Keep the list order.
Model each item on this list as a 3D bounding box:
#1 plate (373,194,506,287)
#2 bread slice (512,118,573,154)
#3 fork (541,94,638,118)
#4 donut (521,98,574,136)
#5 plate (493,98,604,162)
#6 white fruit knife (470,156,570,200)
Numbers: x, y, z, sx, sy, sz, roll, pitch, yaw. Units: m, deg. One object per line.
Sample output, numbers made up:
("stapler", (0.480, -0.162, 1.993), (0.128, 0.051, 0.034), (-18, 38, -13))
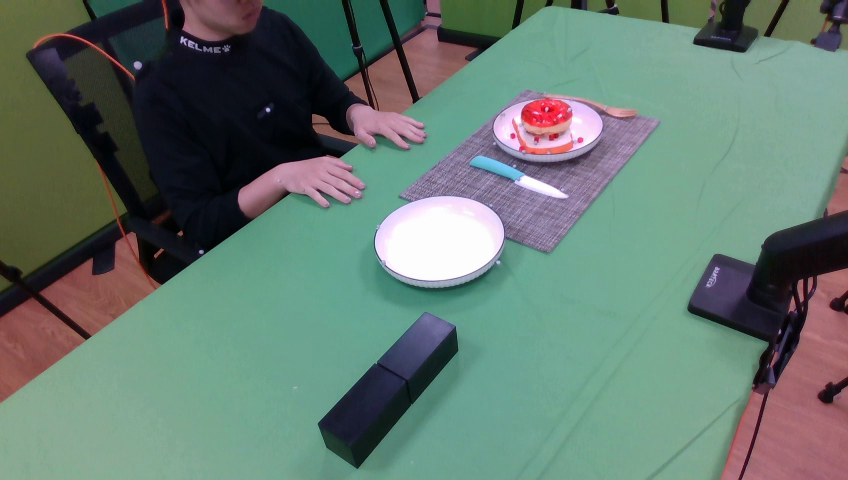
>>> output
("plate", (0.025, 0.003, 0.952), (0.207, 0.039, 0.206), (-4, 41, 4))
("bread slice", (0.232, -0.204, 1.160), (0.105, 0.019, 0.131), (-8, 39, 1))
("fork", (0.334, -0.277, 1.240), (0.206, 0.019, 0.028), (22, 56, 27))
("donut", (0.232, -0.232, 1.135), (0.099, 0.048, 0.098), (-4, 41, 4))
("plate", (0.237, -0.206, 1.158), (0.209, 0.038, 0.208), (-4, 40, 4))
("white fruit knife", (0.169, -0.111, 1.076), (0.205, 0.016, 0.027), (28, 80, 32))
